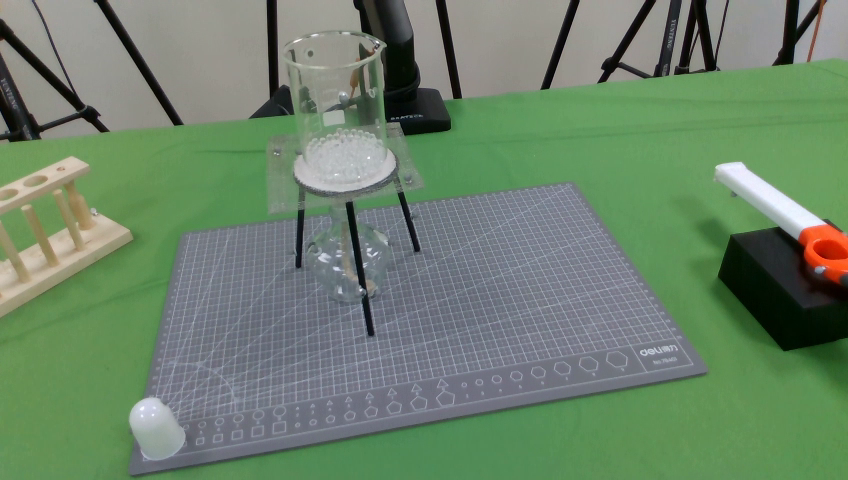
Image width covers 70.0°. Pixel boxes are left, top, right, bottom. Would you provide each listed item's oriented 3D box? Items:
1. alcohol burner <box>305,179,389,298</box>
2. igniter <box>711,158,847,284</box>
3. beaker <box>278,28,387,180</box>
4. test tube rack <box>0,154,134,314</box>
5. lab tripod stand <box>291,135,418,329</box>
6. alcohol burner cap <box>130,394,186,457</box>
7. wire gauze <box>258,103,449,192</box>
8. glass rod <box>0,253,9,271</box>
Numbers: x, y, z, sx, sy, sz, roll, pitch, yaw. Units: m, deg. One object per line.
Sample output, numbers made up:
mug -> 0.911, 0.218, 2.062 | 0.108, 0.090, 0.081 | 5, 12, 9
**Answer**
alcohol burner -> -0.071, -0.005, 0.552 | 0.078, 0.120, 0.077 | 0, 38, 0
igniter -> 0.342, -0.003, 0.525 | 0.057, 0.025, 0.273 | -9, 35, -8
beaker -> -0.065, -0.106, 0.478 | 0.084, 0.101, 0.073 | -22, 44, -24
test tube rack -> -0.413, 0.014, 0.572 | 0.066, 0.086, 0.242 | 23, 44, 28
lab tripod stand -> -0.062, -0.014, 0.547 | 0.148, 0.132, 0.147 | 0, 39, 0
alcohol burner cap -> -0.196, 0.132, 0.442 | 0.034, 0.048, 0.033 | 1, 39, 0
wire gauze -> -0.060, -0.077, 0.494 | 0.125, 0.011, 0.120 | -18, 39, -26
glass rod -> -0.429, -0.054, 0.552 | 0.008, 0.201, 0.008 | -6, 32, 4
